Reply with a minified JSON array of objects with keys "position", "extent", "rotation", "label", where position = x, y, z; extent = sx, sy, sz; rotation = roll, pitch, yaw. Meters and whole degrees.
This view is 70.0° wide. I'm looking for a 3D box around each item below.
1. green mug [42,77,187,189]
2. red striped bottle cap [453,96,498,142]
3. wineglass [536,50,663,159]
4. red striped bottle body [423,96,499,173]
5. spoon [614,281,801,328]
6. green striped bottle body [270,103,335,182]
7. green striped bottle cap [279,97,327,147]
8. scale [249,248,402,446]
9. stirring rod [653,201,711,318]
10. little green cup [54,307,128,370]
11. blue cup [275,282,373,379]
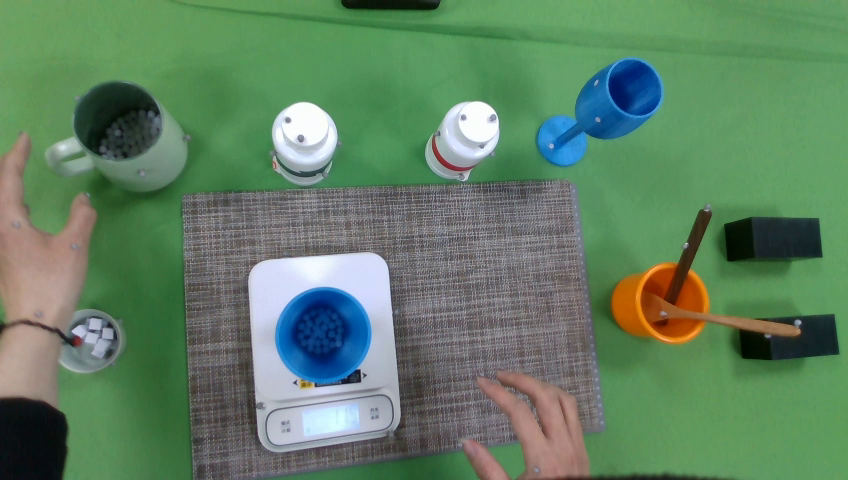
[{"position":[-0.303,-0.096,0.592],"extent":[0.125,0.105,0.092],"rotation":[-26,89,-14],"label":"green mug"},{"position":[0.052,-0.123,0.610],"extent":[0.045,0.018,0.044],"rotation":[2,79,-11],"label":"red striped bottle cap"},{"position":[0.186,-0.143,0.669],"extent":[0.074,0.172,0.073],"rotation":[2,82,-11],"label":"wineglass"},{"position":[0.041,-0.116,0.662],"extent":[0.063,0.119,0.063],"rotation":[2,83,-12],"label":"red striped bottle body"},{"position":[0.312,0.079,0.684],"extent":[0.022,0.192,0.041],"rotation":[14,85,-54],"label":"spoon"},{"position":[-0.125,-0.103,0.624],"extent":[0.063,0.119,0.063],"rotation":[2,82,-12],"label":"green striped bottle body"},{"position":[-0.114,-0.111,0.570],"extent":[0.044,0.020,0.044],"rotation":[2,82,-11],"label":"green striped bottle cap"},{"position":[-0.104,0.111,0.644],"extent":[0.149,0.031,0.200],"rotation":[-5,85,-13],"label":"scale"},{"position":[0.289,0.028,0.685],"extent":[0.014,0.177,0.005],"rotation":[3,41,1],"label":"stirring rod"},{"position":[-0.325,0.097,0.597],"extent":[0.062,0.038,0.061],"rotation":[2,83,-13],"label":"little green cup"},{"position":[-0.097,0.084,0.582],"extent":[0.093,0.100,0.092],"rotation":[1,85,-12],"label":"blue cup"}]
